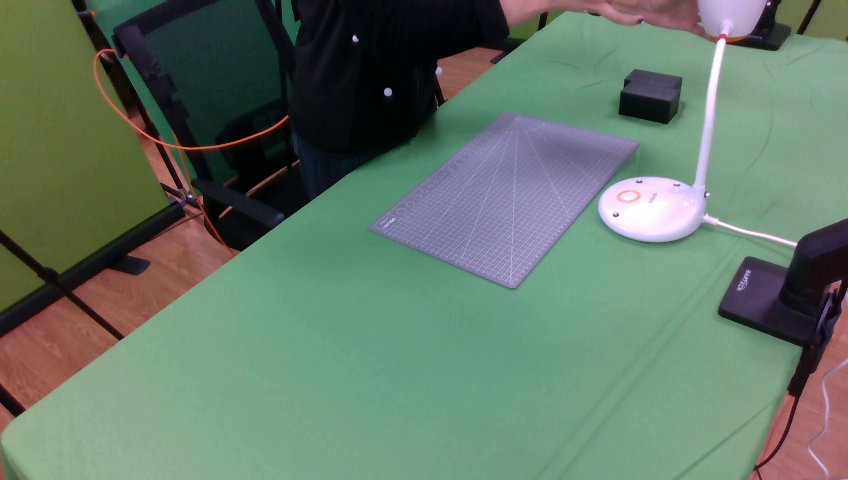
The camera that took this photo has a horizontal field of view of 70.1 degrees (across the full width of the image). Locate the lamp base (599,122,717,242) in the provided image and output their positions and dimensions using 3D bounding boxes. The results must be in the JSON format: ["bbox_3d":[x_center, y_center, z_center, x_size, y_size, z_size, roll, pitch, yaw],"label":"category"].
[{"bbox_3d":[0.367,-0.108,0.919,0.178,0.181,0.160,12,45,20],"label":"lamp base"}]

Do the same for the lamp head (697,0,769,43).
[{"bbox_3d":[0.468,-0.364,0.919,0.112,0.123,0.112,-7,33,5],"label":"lamp head"}]

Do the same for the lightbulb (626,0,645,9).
[{"bbox_3d":[0.297,-0.361,0.853,0.059,0.108,0.059,-4,80,22],"label":"lightbulb"}]
